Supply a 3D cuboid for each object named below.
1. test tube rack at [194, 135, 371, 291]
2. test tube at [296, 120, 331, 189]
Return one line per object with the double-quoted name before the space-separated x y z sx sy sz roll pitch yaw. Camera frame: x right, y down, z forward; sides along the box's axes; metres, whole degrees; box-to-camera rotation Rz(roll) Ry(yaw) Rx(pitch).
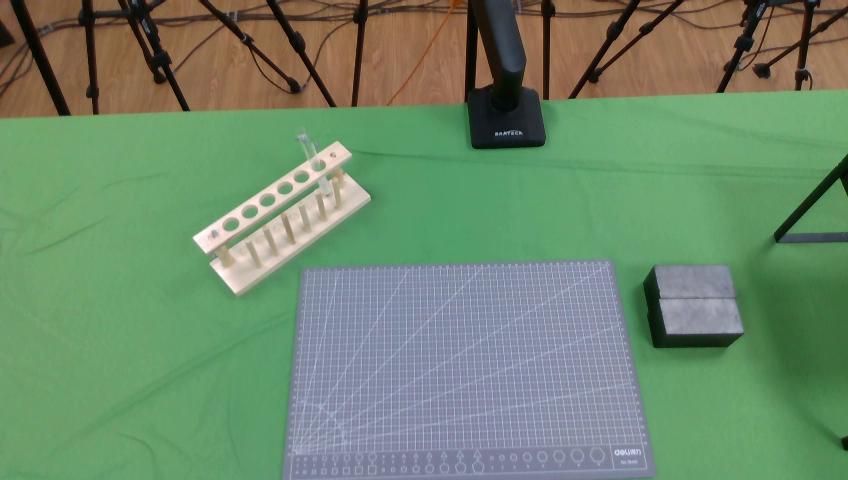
"test tube rack" -0.193 -0.040 0.863 0.242 0.086 0.066 -38 67 -19
"test tube" -0.153 -0.116 0.849 0.017 0.151 0.017 -2 63 4
